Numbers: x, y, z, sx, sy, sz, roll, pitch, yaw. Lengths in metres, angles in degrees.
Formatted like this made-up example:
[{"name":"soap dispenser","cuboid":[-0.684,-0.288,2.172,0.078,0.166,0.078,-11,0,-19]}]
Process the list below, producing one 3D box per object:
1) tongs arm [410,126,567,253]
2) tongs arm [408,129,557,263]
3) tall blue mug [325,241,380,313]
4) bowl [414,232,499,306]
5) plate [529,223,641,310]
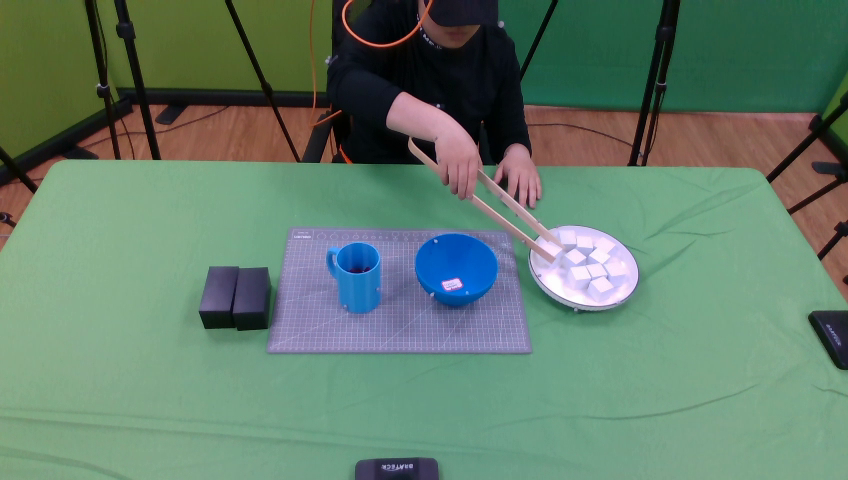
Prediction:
[{"name":"tongs arm","cuboid":[0.120,-0.100,1.189,0.051,0.026,0.383,-38,73,-26]},{"name":"tongs arm","cuboid":[0.104,-0.086,1.178,0.386,0.028,0.028,41,65,13]},{"name":"tall blue mug","cuboid":[-0.130,0.063,1.062,0.107,0.108,0.077,9,47,5]},{"name":"bowl","cuboid":[0.056,0.066,1.095,0.151,0.077,0.150,2,46,-2]},{"name":"plate","cuboid":[0.303,0.053,1.156,0.209,0.038,0.208,2,46,-2]}]
